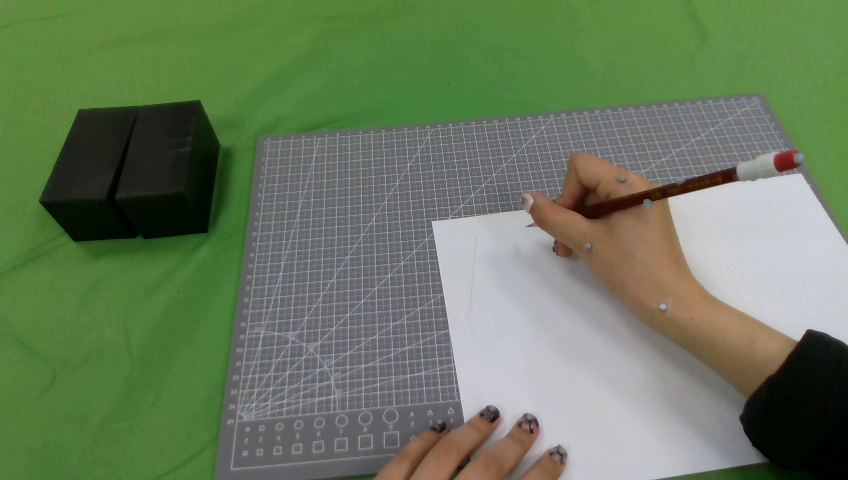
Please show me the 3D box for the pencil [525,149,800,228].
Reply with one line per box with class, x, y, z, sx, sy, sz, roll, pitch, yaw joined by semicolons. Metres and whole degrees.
pencil;0.126;-0.024;0.368;0.012;0.193;0.012;6;78;-32
